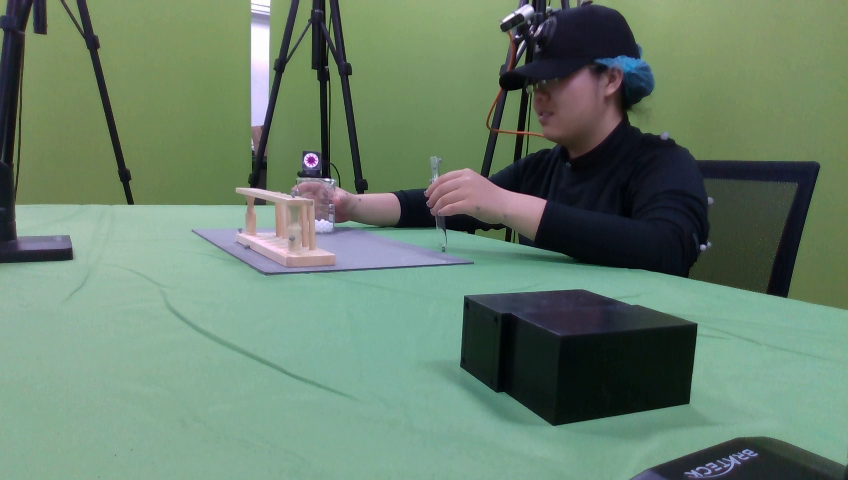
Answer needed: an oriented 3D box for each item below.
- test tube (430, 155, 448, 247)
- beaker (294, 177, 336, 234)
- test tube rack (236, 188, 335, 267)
[{"bbox_3d":[0.024,-0.064,0.978,0.017,0.150,0.017,-5,-6,0],"label":"test tube"},{"bbox_3d":[-0.197,-0.063,1.106,0.083,0.100,0.074,11,12,42],"label":"beaker"},{"bbox_3d":[-0.202,-0.024,0.855,0.067,0.085,0.241,-2,8,-31],"label":"test tube rack"}]
